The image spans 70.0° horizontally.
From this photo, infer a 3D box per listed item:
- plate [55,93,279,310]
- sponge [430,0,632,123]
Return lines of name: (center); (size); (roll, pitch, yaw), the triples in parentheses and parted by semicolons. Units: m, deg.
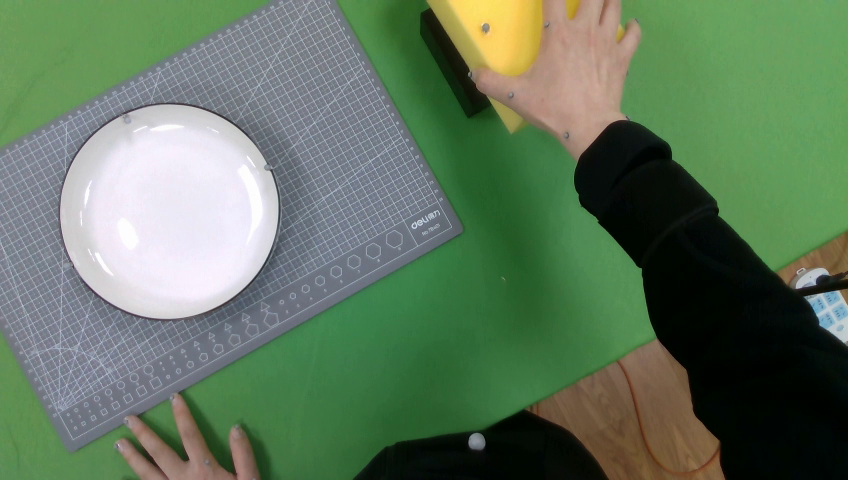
plate: (-0.243, -0.036, 0.590); (0.209, 0.038, 0.209); (0, 89, -2)
sponge: (0.076, -0.226, 0.546); (0.118, 0.061, 0.207); (-33, 90, -2)
